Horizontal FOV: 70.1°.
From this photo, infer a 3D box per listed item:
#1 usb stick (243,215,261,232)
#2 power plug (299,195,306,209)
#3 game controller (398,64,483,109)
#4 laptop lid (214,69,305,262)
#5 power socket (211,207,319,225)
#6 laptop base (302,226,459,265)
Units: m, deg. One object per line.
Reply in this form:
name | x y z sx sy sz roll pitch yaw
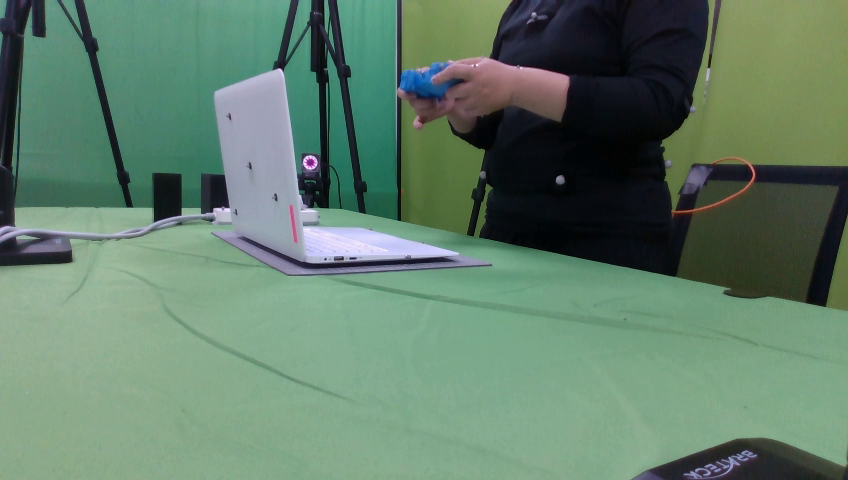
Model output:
usb stick | -0.302 -0.029 1.070 0.021 0.027 0.059 -1 12 -30
power plug | -0.282 -0.076 1.342 0.035 0.052 0.072 0 4 -17
game controller | 0.025 -0.265 1.028 0.097 0.051 0.154 15 -2 -33
laptop lid | -0.246 -0.107 0.865 0.013 0.241 0.355 -11 14 -30
power socket | -0.334 -0.051 1.281 0.228 0.032 0.072 -1 9 -29
laptop base | -0.136 0.006 0.951 0.237 0.023 0.352 2 6 -32
